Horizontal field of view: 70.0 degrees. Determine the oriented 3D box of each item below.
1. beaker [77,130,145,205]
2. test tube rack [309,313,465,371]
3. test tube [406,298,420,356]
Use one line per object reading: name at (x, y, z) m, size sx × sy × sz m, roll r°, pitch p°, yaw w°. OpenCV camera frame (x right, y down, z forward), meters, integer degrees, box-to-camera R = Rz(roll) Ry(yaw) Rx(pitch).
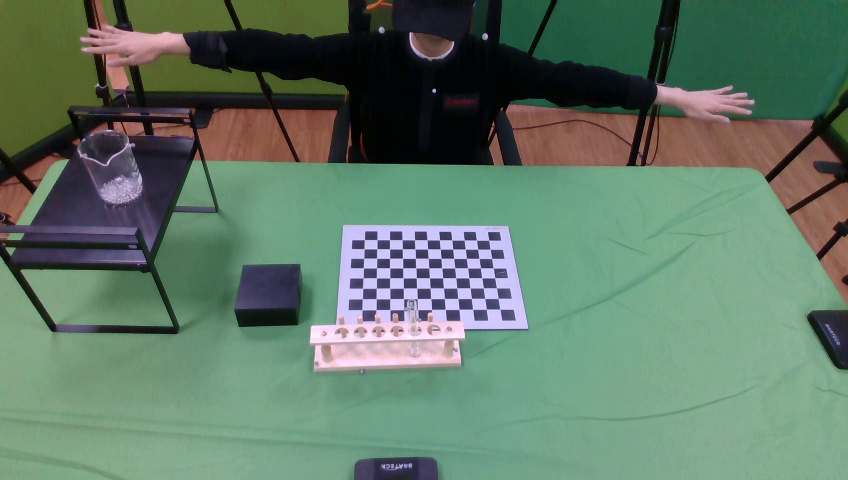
beaker at (-0.493, -0.111, 0.965) m, size 0.074 × 0.101 × 0.083 m, roll -14°, pitch 49°, yaw -16°
test tube rack at (-0.059, 0.161, 0.990) m, size 0.242 × 0.085 × 0.066 m, roll -1°, pitch 46°, yaw -5°
test tube at (-0.017, 0.139, 0.945) m, size 0.017 × 0.151 × 0.017 m, roll -1°, pitch 50°, yaw 1°
